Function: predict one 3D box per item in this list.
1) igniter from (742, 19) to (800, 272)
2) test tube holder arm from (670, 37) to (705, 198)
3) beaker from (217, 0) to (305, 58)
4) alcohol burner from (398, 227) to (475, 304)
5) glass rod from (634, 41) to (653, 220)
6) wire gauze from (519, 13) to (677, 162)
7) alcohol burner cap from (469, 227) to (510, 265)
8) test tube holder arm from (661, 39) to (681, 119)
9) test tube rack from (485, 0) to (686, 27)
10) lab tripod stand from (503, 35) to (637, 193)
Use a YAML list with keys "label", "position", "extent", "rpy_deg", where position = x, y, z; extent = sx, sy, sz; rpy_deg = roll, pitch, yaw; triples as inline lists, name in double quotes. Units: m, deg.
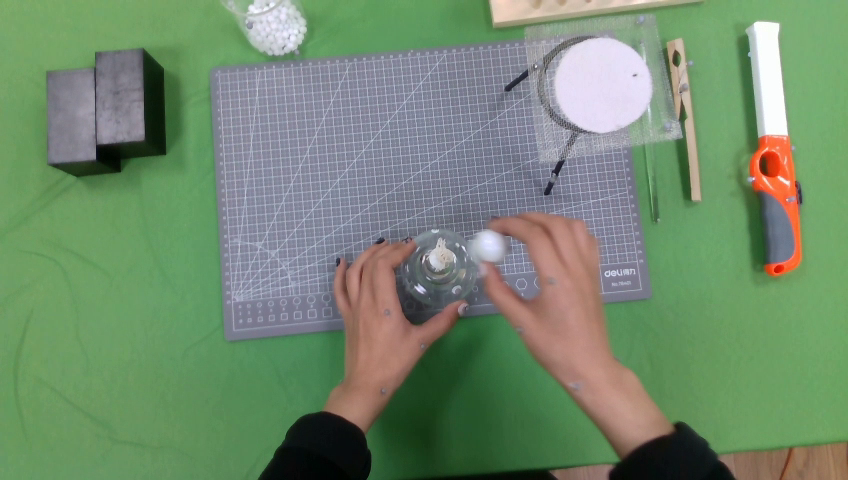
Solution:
- label: "igniter"
  position: [0.370, -0.103, 0.650]
  extent: [0.057, 0.025, 0.275]
  rpy_deg: [1, 82, -10]
- label: "test tube holder arm"
  position: [0.284, -0.133, 0.657]
  extent: [0.013, 0.015, 0.178]
  rpy_deg: [-13, 80, 36]
- label: "beaker"
  position: [-0.170, -0.243, 0.633]
  extent: [0.084, 0.100, 0.074]
  rpy_deg: [13, 82, 3]
- label: "alcohol burner"
  position: [0.012, 0.022, 0.589]
  extent: [0.078, 0.119, 0.077]
  rpy_deg: [0, 80, 2]
- label: "glass rod"
  position: [0.241, -0.120, 0.663]
  extent: [0.008, 0.008, 0.199]
  rpy_deg: [-3, 86, 0]
- label: "wire gauze"
  position: [0.150, -0.137, 0.531]
  extent: [0.121, 0.011, 0.124]
  rpy_deg: [-8, 82, 1]
- label: "alcohol burner cap"
  position: [0.056, 0.003, 0.506]
  extent: [0.034, 0.048, 0.034]
  rpy_deg: [0, 85, -2]
- label: "test tube holder arm"
  position: [0.274, -0.177, 0.666]
  extent: [0.010, 0.015, 0.087]
  rpy_deg: [-12, 81, 37]
- label: "test tube rack"
  position: [0.188, -0.294, 0.646]
  extent: [0.242, 0.085, 0.066]
  rpy_deg: [-8, 82, -1]
- label: "lab tripod stand"
  position: [0.140, -0.132, 0.598]
  extent: [0.148, 0.132, 0.148]
  rpy_deg: [0, 83, 2]
